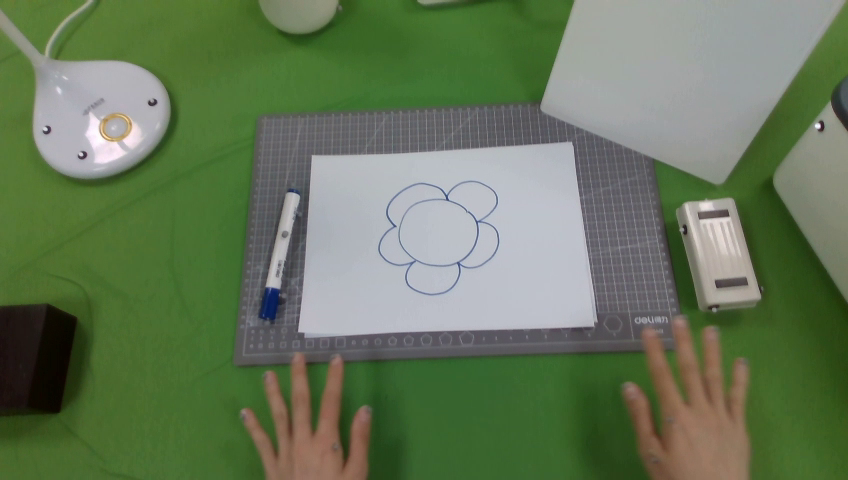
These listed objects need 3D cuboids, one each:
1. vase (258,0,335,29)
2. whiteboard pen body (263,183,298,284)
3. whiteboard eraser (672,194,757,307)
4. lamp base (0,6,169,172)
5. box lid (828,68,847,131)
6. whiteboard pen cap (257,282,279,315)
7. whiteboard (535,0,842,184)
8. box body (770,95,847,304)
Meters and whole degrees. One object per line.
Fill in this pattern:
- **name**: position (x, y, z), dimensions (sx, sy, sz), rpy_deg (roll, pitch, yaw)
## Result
- **vase**: position (-0.164, -0.336, 0.686), dimensions (0.098, 0.201, 0.097), rpy_deg (-1, 68, 4)
- **whiteboard pen body**: position (-0.154, 0.005, 0.643), dimensions (0.017, 0.017, 0.140), rpy_deg (6, 71, 6)
- **whiteboard eraser**: position (0.291, 0.011, 0.611), dimensions (0.055, 0.042, 0.112), rpy_deg (-4, 68, 0)
- **lamp base**: position (-0.398, -0.187, 0.650), dimensions (0.178, 0.181, 0.160), rpy_deg (29, 72, 17)
- **box lid**: position (0.521, -0.025, 0.467), dimensions (0.263, 0.015, 0.368), rpy_deg (-20, 69, -4)
- **whiteboard pen cap**: position (-0.161, 0.060, 0.625), dimensions (0.018, 0.018, 0.033), rpy_deg (5, 71, 6)
- **whiteboard**: position (0.274, -0.246, 0.604), dimensions (0.216, 0.308, 0.143), rpy_deg (28, 52, 14)
- **box body**: position (0.526, 0.005, 0.536), dimensions (0.254, 0.161, 0.361), rpy_deg (-20, 69, -5)
